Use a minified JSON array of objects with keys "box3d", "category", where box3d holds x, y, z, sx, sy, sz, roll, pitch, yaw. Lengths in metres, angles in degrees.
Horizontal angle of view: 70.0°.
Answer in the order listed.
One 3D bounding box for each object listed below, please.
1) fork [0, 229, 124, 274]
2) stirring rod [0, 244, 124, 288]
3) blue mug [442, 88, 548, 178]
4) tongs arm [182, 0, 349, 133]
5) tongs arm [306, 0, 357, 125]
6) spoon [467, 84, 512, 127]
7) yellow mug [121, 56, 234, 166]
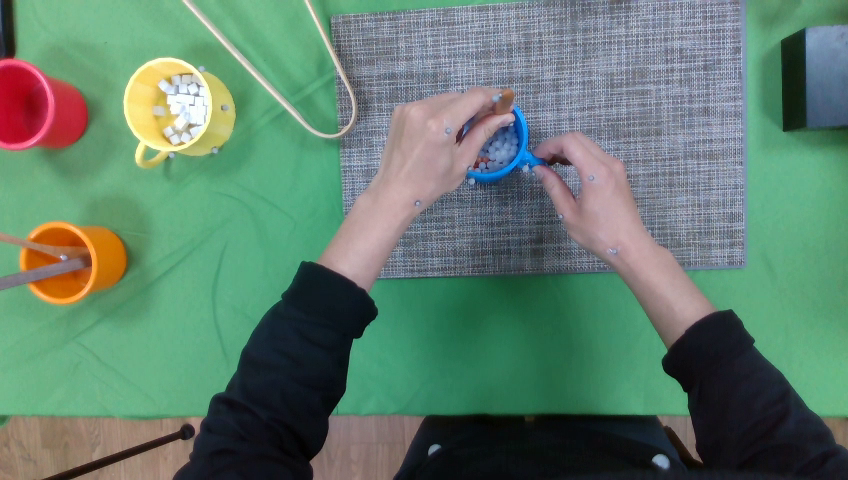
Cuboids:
[{"box3d":[-0.438,0.000,0.663,0.209,0.018,0.028,23,92,-41],"category":"fork"},{"box3d":[-0.427,0.034,0.672,0.176,0.006,0.014,-20,88,-36],"category":"stirring rod"},{"box3d":[0.077,-0.101,0.635,0.116,0.106,0.082,27,96,2],"category":"blue mug"},{"box3d":[-0.230,-0.258,0.663,0.051,0.026,0.386,-41,98,3],"category":"tongs arm"},{"box3d":[-0.162,-0.307,0.656,0.028,0.027,0.388,-28,99,-2],"category":"tongs arm"},{"box3d":[0.065,-0.121,0.554,0.041,0.193,0.022,-10,97,1],"category":"spoon"},{"box3d":[-0.283,-0.137,0.682,0.100,0.064,0.131,36,97,1],"category":"yellow mug"}]
